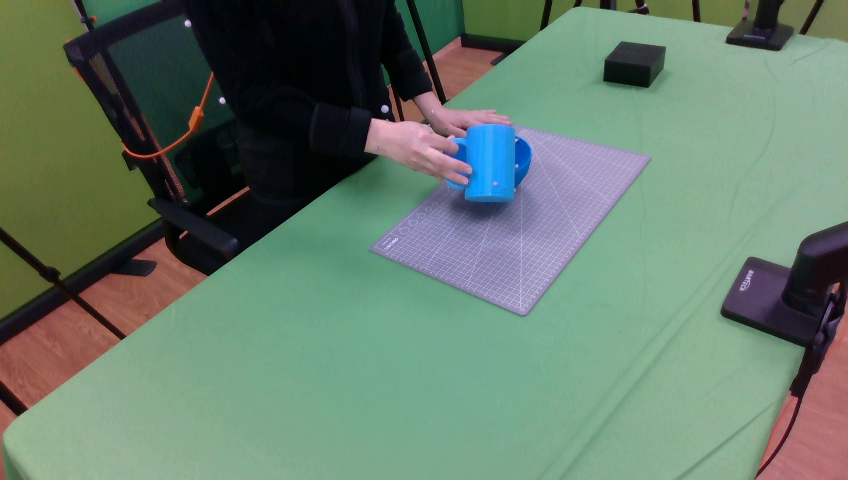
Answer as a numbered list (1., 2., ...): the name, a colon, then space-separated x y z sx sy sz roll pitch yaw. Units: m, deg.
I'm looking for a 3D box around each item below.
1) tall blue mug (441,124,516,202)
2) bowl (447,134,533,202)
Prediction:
1. tall blue mug: 0.088 -0.117 0.922 0.108 0.108 0.077 2 -2 -27
2. bowl: 0.115 -0.118 1.056 0.151 0.077 0.150 -6 40 5
